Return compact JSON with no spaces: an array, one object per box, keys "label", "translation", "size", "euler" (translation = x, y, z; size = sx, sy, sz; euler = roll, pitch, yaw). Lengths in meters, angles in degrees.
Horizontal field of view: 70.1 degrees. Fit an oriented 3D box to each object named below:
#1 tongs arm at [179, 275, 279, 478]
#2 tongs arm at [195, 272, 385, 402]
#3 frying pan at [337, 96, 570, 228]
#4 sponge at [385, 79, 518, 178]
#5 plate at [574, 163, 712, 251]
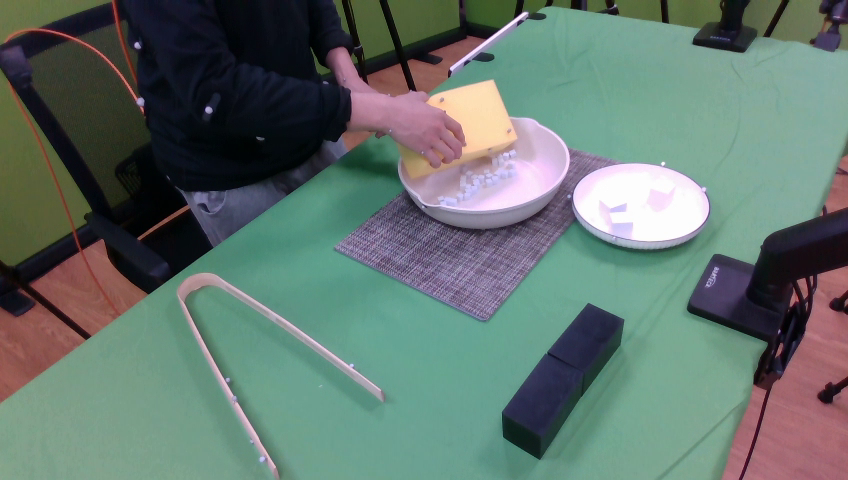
[{"label":"tongs arm","translation":[-0.260,0.161,0.807],"size":[0.051,0.026,0.381],"euler":[-29,44,-25]},{"label":"tongs arm","translation":[-0.198,0.125,0.847],"size":[0.384,0.028,0.028],"euler":[25,52,32]},{"label":"frying pan","translation":[0.023,-0.167,1.090],"size":[0.484,0.103,0.308],"euler":[32,52,26]},{"label":"sponge","translation":[0.050,-0.197,1.054],"size":[0.208,0.060,0.118],"euler":[-22,87,-29]},{"label":"plate","translation":[0.344,-0.050,0.966],"size":[0.207,0.039,0.206],"euler":[-4,40,4]}]
